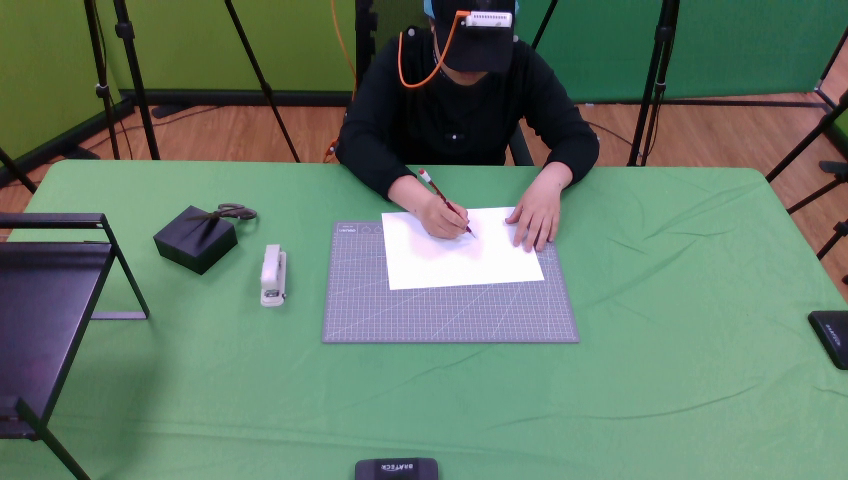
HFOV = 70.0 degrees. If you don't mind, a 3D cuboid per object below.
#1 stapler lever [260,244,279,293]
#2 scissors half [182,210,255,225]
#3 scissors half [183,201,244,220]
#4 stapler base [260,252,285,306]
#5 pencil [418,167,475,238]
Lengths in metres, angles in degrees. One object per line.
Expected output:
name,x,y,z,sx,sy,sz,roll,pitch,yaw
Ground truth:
stapler lever,-0.278,0.045,1.096,0.027,0.040,0.117,-1,44,-9
scissors half,-0.389,-0.042,1.158,0.040,0.013,0.175,41,21,22
scissors half,-0.405,-0.054,1.163,0.040,0.013,0.175,30,18,7
stapler base,-0.279,0.064,1.113,0.041,0.024,0.129,-1,44,-9
pencil,0.047,-0.068,1.155,0.012,0.195,0.012,-29,32,20
